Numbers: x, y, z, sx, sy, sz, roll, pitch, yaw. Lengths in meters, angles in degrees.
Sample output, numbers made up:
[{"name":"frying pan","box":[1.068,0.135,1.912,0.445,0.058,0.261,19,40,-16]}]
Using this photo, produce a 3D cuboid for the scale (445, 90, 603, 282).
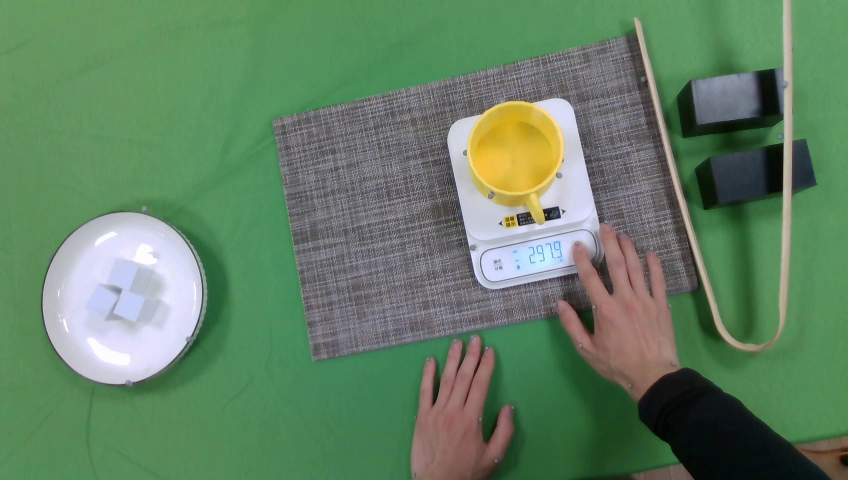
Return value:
[{"name":"scale","box":[0.112,-0.062,0.691,0.148,0.031,0.200,-12,84,6]}]

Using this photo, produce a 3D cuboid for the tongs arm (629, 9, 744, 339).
[{"name":"tongs arm","box":[0.286,-0.078,0.674,0.028,0.028,0.386,-17,82,30]}]

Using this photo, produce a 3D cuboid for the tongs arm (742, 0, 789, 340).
[{"name":"tongs arm","box":[0.351,-0.088,0.627,0.050,0.027,0.384,-2,91,34]}]

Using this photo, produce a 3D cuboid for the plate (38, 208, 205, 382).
[{"name":"plate","box":[-0.361,0.066,0.737,0.207,0.039,0.207,-1,85,6]}]

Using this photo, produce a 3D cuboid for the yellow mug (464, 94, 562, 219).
[{"name":"yellow mug","box":[0.099,-0.084,0.647,0.100,0.064,0.130,-22,84,4]}]
